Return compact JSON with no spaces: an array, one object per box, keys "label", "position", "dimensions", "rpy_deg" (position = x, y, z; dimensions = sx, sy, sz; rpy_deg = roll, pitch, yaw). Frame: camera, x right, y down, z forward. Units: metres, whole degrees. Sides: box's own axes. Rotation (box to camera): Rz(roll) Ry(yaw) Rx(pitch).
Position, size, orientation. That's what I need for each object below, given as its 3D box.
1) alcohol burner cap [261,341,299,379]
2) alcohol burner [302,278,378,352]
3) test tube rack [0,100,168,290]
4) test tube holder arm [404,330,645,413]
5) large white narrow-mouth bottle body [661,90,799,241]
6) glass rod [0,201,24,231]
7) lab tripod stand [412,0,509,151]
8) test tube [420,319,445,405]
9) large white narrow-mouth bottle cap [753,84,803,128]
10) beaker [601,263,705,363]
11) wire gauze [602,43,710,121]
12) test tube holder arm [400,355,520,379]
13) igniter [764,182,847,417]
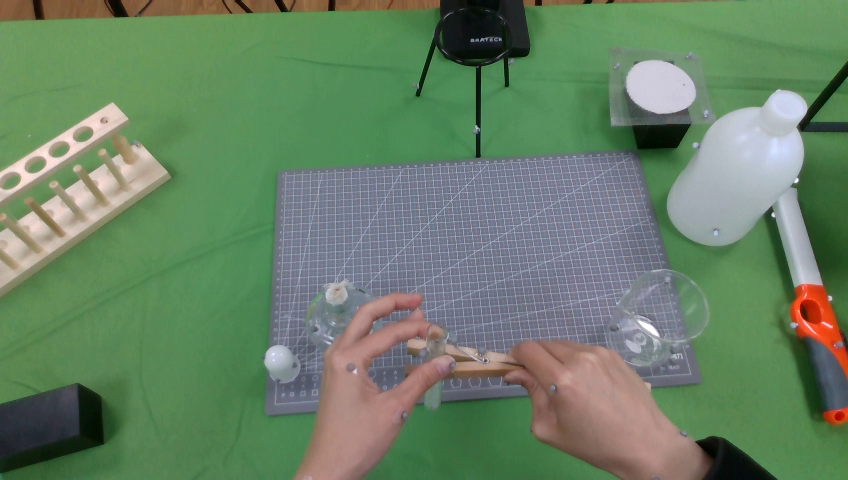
[{"label":"alcohol burner cap","position":[-0.148,0.120,0.616],"dimensions":[0.034,0.048,0.033],"rpy_deg":[-1,64,2]},{"label":"alcohol burner","position":[-0.085,0.068,0.603],"dimensions":[0.078,0.120,0.077],"rpy_deg":[1,61,-2]},{"label":"test tube rack","position":[-0.422,-0.045,0.676],"dimensions":[0.242,0.086,0.066],"rpy_deg":[-41,70,-19]},{"label":"test tube holder arm","position":[0.070,0.096,0.444],"dimensions":[0.178,0.015,0.013],"rpy_deg":[13,42,10]},{"label":"large white narrow-mouth bottle body","position":[0.330,-0.084,0.642],"dimensions":[0.102,0.196,0.101],"rpy_deg":[0,62,0]},{"label":"glass rod","position":[-0.455,-0.068,0.613],"dimensions":[0.008,0.201,0.008],"rpy_deg":[2,54,-2]},{"label":"lab tripod stand","position":[0.053,-0.205,0.737],"dimensions":[0.148,0.132,0.147],"rpy_deg":[1,64,-2]},{"label":"test tube","position":[0.005,0.100,0.476],"dimensions":[0.017,0.151,0.017],"rpy_deg":[1,57,-1]},{"label":"large white narrow-mouth bottle cap","position":[0.330,-0.125,0.566],"dimensions":[0.038,0.024,0.037],"rpy_deg":[0,62,0]},{"label":"beaker","position":[0.222,0.078,0.609],"dimensions":[0.084,0.101,0.073],"rpy_deg":[2,62,2]},{"label":"wire gauze","position":[0.283,-0.196,0.749],"dimensions":[0.121,0.011,0.124],"rpy_deg":[3,62,1]},{"label":"test tube holder arm","position":[0.026,0.093,0.444],"dimensions":[0.088,0.015,0.010],"rpy_deg":[-1,40,-6]},{"label":"igniter","position":[0.418,0.055,0.666],"dimensions":[0.057,0.025,0.274],"rpy_deg":[6,62,-9]}]
